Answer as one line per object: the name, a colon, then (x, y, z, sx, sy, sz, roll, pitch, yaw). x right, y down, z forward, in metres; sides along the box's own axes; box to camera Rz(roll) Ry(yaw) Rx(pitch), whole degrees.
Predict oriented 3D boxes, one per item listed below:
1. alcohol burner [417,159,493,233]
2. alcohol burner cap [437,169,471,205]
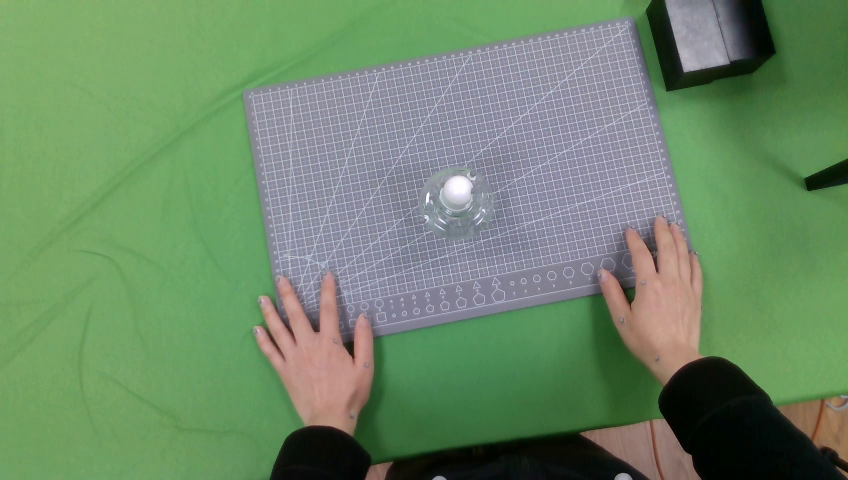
alcohol burner: (0.031, -0.047, 0.607, 0.078, 0.119, 0.077, 0, 84, 2)
alcohol burner cap: (0.030, -0.052, 0.571, 0.034, 0.048, 0.034, 0, 86, -3)
